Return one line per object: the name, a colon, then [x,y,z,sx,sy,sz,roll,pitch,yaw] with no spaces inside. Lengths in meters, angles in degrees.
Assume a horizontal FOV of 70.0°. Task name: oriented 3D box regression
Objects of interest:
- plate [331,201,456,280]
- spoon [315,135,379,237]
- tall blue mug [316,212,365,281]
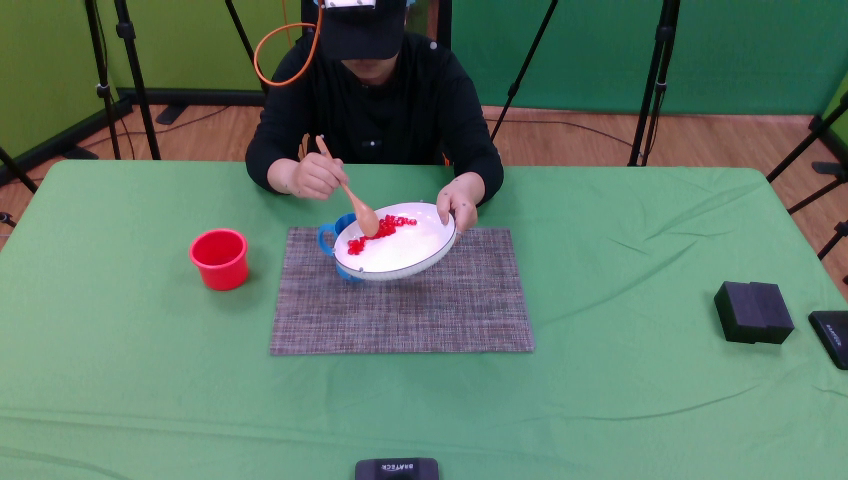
plate: [-0.048,0.004,0.999,0.207,0.039,0.206,-10,32,7]
spoon: [-0.134,-0.092,1.026,0.041,0.021,0.193,-33,90,-33]
tall blue mug: [-0.141,0.014,1.109,0.107,0.108,0.077,-4,48,-9]
